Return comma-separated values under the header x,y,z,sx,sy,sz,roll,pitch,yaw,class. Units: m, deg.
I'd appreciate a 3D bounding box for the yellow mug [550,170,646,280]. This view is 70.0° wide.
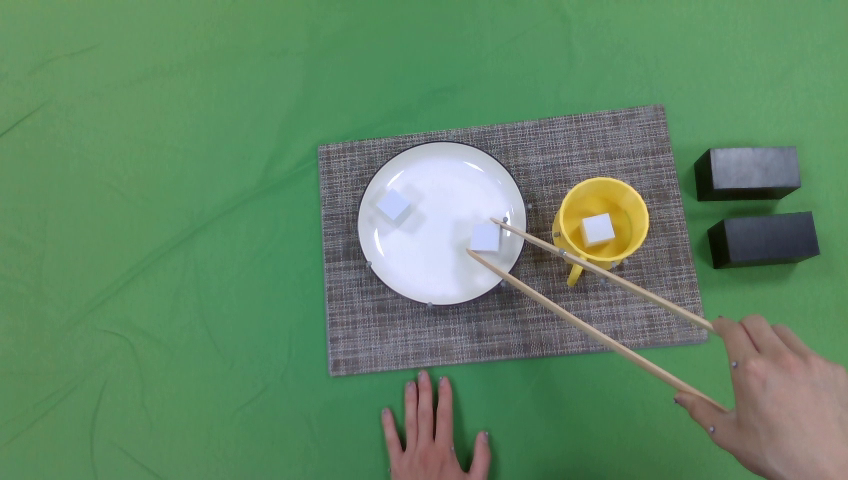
x,y,z,sx,sy,sz,roll,pitch,yaw,class
0.196,-0.012,0.714,0.099,0.064,0.130,25,81,9,yellow mug

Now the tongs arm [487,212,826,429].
x,y,z,sx,sy,sz,roll,pitch,yaw,class
0.185,0.053,0.581,0.381,0.027,0.050,29,81,46,tongs arm

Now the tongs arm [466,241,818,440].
x,y,z,sx,sy,sz,roll,pitch,yaw,class
0.167,0.076,0.579,0.028,0.028,0.383,-50,43,-7,tongs arm

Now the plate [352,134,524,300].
x,y,z,sx,sy,sz,roll,pitch,yaw,class
0.017,-0.027,0.745,0.207,0.039,0.206,-1,78,4,plate
